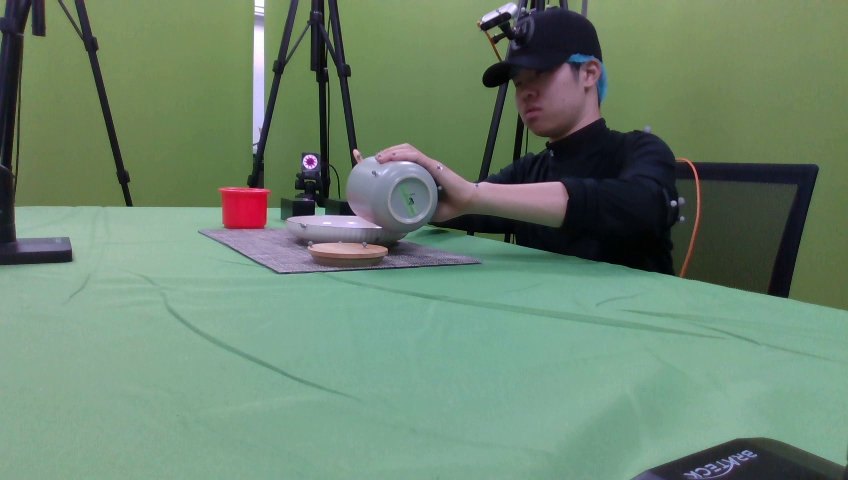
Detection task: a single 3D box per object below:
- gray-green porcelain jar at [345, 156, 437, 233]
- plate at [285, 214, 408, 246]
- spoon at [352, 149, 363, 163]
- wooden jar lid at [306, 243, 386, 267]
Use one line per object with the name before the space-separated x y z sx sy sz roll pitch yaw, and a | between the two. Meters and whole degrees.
gray-green porcelain jar | -0.048 -0.069 0.900 0.106 0.106 0.126 -1 11 -27
plate | -0.127 -0.015 1.012 0.208 0.039 0.207 3 7 0
spoon | -0.074 -0.092 0.939 0.042 0.021 0.193 5 30 -38
wooden jar lid | -0.105 0.020 0.816 0.108 0.020 0.108 1 7 0
